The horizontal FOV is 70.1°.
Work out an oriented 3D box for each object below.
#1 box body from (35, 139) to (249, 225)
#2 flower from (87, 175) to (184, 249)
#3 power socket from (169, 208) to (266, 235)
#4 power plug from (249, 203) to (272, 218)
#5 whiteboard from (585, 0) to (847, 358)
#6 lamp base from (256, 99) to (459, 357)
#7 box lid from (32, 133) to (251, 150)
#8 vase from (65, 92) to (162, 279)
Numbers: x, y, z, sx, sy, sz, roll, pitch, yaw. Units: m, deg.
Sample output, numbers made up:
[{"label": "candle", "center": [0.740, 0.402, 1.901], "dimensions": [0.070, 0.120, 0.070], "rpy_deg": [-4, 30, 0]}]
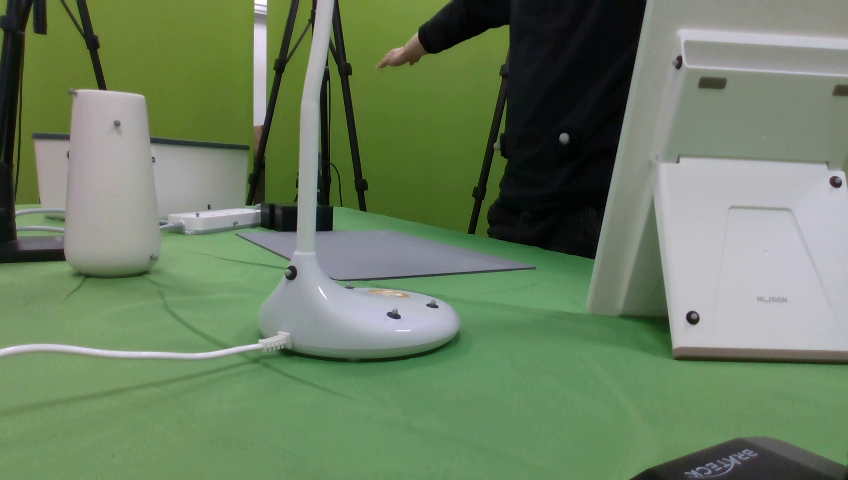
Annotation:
[{"label": "box body", "center": [-0.561, -0.127, 1.258], "dimensions": [0.254, 0.160, 0.365], "rpy_deg": [4, 8, 13]}, {"label": "flower", "center": [-0.610, -0.063, 1.290], "dimensions": [0.044, 0.038, 0.361], "rpy_deg": [-5, 25, 9]}, {"label": "power socket", "center": [-0.379, -0.038, 1.130], "dimensions": [0.072, 0.032, 0.227], "rpy_deg": [4, 8, 19]}, {"label": "power plug", "center": [-0.362, -0.049, 1.290], "dimensions": [0.052, 0.035, 0.072], "rpy_deg": [7, 47, 30]}, {"label": "whiteboard", "center": [0.269, -0.034, 0.466], "dimensions": [0.217, 0.305, 0.143], "rpy_deg": [2, 27, -1]}, {"label": "lamp base", "center": [-0.055, -0.013, 0.463], "dimensions": [0.160, 0.180, 0.180], "rpy_deg": [6, 11, 27]}, {"label": "box lid", "center": [-0.558, -0.200, 1.250], "dimensions": [0.263, 0.015, 0.372], "rpy_deg": [5, 8, 13]}, {"label": "vase", "center": [-0.347, -0.060, 0.673], "dimensions": [0.098, 0.200, 0.098], "rpy_deg": [1, 7, 0]}]
